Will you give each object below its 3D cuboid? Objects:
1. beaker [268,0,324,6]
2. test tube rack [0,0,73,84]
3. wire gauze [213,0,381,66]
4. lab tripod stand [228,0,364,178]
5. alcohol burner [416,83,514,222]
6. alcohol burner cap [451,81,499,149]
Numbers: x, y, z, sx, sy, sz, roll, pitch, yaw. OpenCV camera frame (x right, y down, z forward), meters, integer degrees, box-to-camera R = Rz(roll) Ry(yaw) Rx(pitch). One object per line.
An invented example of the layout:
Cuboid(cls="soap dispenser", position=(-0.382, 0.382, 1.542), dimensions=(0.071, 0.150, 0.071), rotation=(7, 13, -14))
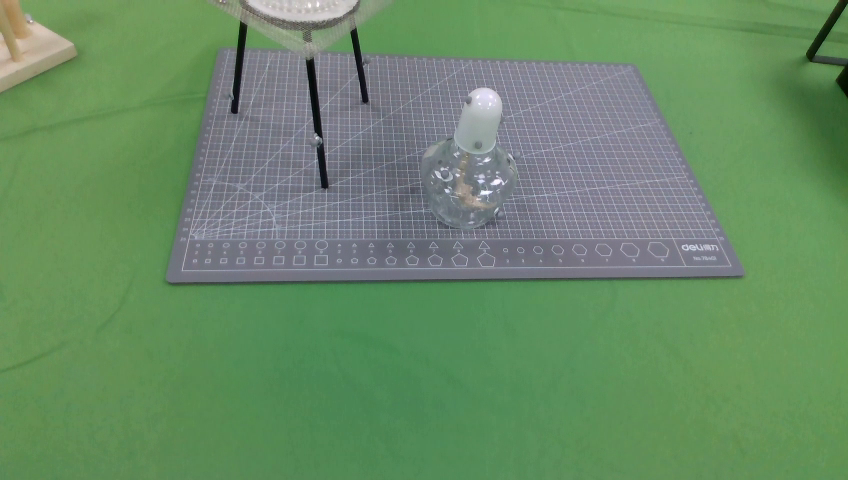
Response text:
Cuboid(cls="beaker", position=(-0.093, -0.221, 0.411), dimensions=(0.084, 0.101, 0.073), rotation=(-4, 52, -11))
Cuboid(cls="test tube rack", position=(-0.429, -0.155, 0.494), dimensions=(0.066, 0.086, 0.241), rotation=(30, 53, 17))
Cuboid(cls="wire gauze", position=(-0.095, -0.188, 0.448), dimensions=(0.124, 0.011, 0.121), rotation=(33, 56, 14))
Cuboid(cls="lab tripod stand", position=(-0.100, -0.146, 0.498), dimensions=(0.148, 0.132, 0.147), rotation=(5, 51, -6))
Cuboid(cls="alcohol burner", position=(0.035, -0.071, 0.468), dimensions=(0.078, 0.120, 0.077), rotation=(5, 48, -5))
Cuboid(cls="alcohol burner cap", position=(0.039, -0.093, 0.439), dimensions=(0.034, 0.048, 0.033), rotation=(4, 55, -5))
